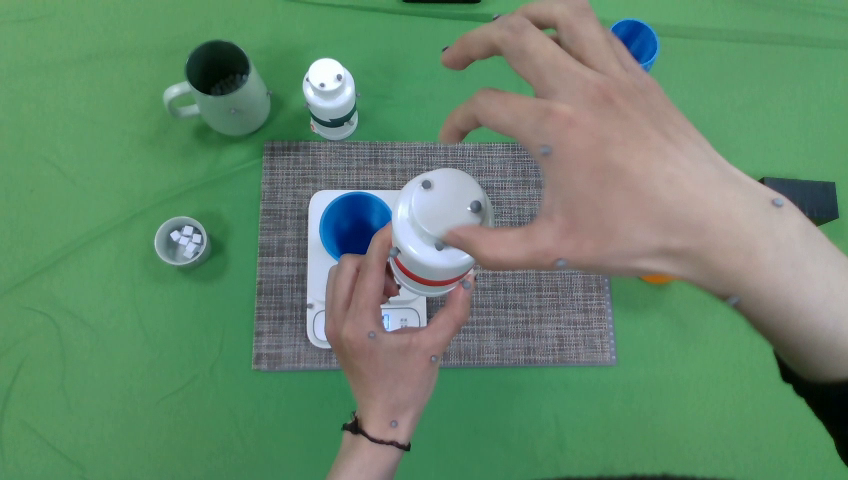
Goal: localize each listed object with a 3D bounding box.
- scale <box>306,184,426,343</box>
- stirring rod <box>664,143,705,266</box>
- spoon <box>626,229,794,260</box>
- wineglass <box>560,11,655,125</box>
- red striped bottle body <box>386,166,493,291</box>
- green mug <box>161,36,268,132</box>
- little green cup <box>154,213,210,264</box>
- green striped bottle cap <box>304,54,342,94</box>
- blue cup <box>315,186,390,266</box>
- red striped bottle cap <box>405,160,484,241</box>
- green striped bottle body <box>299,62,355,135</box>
[{"bbox_3d":[-0.075,0.027,0.766,0.149,0.031,0.200,-1,77,-4],"label":"scale"},{"bbox_3d":[0.323,-0.039,0.754,0.014,0.177,0.006,5,36,10],"label":"stirring rod"},{"bbox_3d":[0.343,0.012,0.743,0.022,0.192,0.041,20,80,-44],"label":"spoon"},{"bbox_3d":[0.228,-0.213,0.774,0.074,0.173,0.073,1,76,-3],"label":"wineglass"},{"bbox_3d":[0.008,-0.008,0.395,0.063,0.120,0.062,1,74,-5],"label":"red striped bottle body"},{"bbox_3d":[-0.268,-0.190,0.769,0.125,0.105,0.092,-22,79,-8],"label":"green mug"},{"bbox_3d":[-0.298,0.000,0.756,0.061,0.039,0.061,1,76,-5],"label":"little green cup"},{"bbox_3d":[-0.120,-0.198,0.720,0.044,0.020,0.044,1,76,-4],"label":"green striped bottle cap"},{"bbox_3d":[-0.078,-0.008,0.707,0.093,0.100,0.092,1,79,-4],"label":"blue cup"},{"bbox_3d":[0.012,-0.023,0.343,0.044,0.018,0.044,1,76,-5],"label":"red striped bottle cap"},{"bbox_3d":[-0.123,-0.185,0.771,0.063,0.119,0.063,1,76,-3],"label":"green striped bottle body"}]
